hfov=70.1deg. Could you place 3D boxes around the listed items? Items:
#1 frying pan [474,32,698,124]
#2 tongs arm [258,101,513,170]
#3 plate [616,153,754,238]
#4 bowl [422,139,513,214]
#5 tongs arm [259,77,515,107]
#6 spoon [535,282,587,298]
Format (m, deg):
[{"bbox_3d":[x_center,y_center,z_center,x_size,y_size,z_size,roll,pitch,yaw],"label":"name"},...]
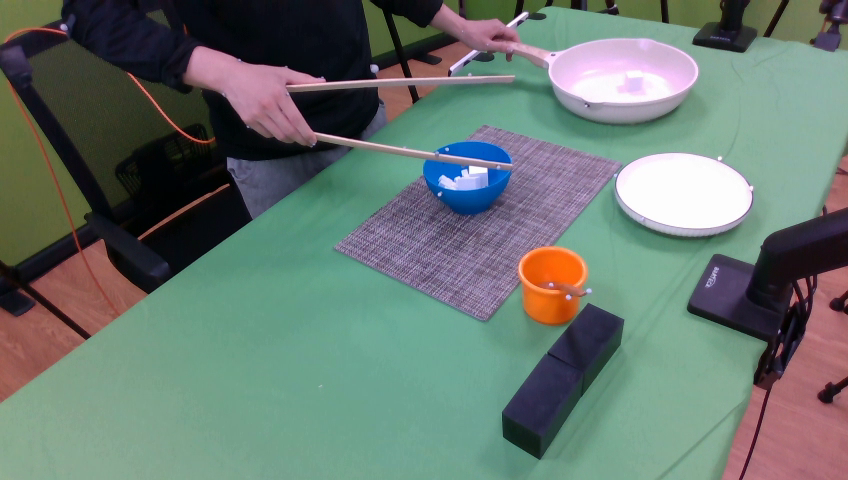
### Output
[{"bbox_3d":[0.320,-0.371,1.289,0.485,0.103,0.307,27,50,23],"label":"frying pan"},{"bbox_3d":[-0.056,-0.156,0.908,0.385,0.026,0.050,7,81,-3],"label":"tongs arm"},{"bbox_3d":[0.416,-0.069,0.977,0.207,0.039,0.206,-4,40,4],"label":"plate"},{"bbox_3d":[0.075,-0.097,1.021,0.151,0.077,0.150,-4,41,4],"label":"bowl"},{"bbox_3d":[-0.052,-0.231,0.922,0.388,0.028,0.028,-5,85,-6],"label":"tongs arm"},{"bbox_3d":[0.176,0.063,0.774,0.041,0.194,0.021,-3,85,1],"label":"spoon"}]
